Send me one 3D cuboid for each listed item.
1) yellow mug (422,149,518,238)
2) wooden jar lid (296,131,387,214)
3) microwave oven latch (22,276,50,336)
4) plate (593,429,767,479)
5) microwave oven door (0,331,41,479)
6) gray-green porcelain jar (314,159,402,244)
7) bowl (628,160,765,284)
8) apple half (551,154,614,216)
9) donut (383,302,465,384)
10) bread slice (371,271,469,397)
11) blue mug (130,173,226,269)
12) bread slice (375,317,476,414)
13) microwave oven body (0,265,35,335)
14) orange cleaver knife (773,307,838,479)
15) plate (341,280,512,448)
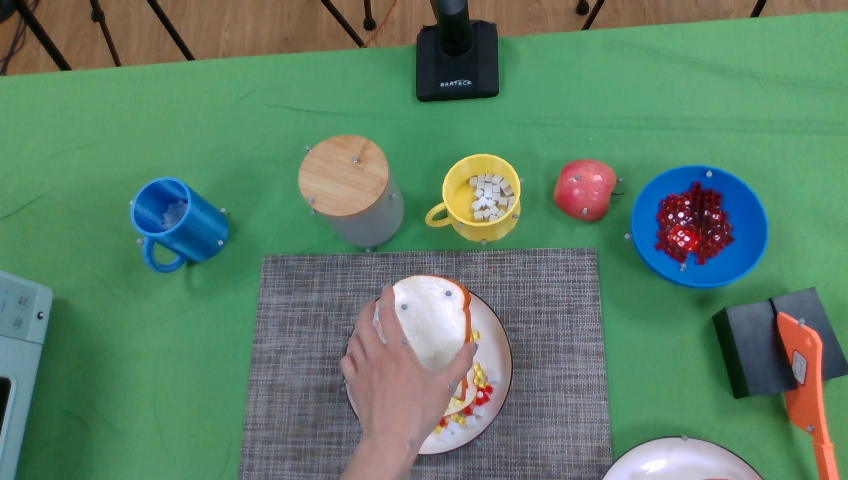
[{"bbox_3d":[0.058,-0.053,0.789,0.131,0.064,0.099,-23,70,1],"label":"yellow mug"},{"bbox_3d":[-0.097,-0.079,0.719,0.108,0.021,0.107,-2,70,5],"label":"wooden jar lid"},{"bbox_3d":[-0.534,0.090,0.820,0.030,0.030,0.078,2,73,8],"label":"microwave oven latch"},{"bbox_3d":[0.278,0.312,0.654,0.209,0.038,0.208,-3,72,8],"label":"plate"},{"bbox_3d":[-0.555,0.266,0.659,0.039,0.245,0.353,-2,72,8],"label":"microwave oven door"},{"bbox_3d":[-0.087,-0.059,0.779,0.106,0.127,0.105,-2,71,7],"label":"gray-green porcelain jar"},{"bbox_3d":[0.318,-0.012,0.732,0.151,0.077,0.150,-2,72,8],"label":"bowl"},{"bbox_3d":[0.206,-0.077,0.782,0.074,0.054,0.080,20,77,16],"label":"apple half"},{"bbox_3d":[0.000,0.123,0.721,0.099,0.048,0.098,-2,72,8],"label":"donut"},{"bbox_3d":[-0.003,0.099,0.663,0.104,0.019,0.131,5,86,17],"label":"bread slice"},{"bbox_3d":[-0.333,-0.016,0.810,0.082,0.106,0.116,19,76,14],"label":"blue mug"},{"bbox_3d":[0.009,0.144,0.742,0.107,0.018,0.133,-19,73,3],"label":"bread slice"},{"bbox_3d":[-0.698,0.231,0.696,0.325,0.262,0.439,-1,73,7],"label":"microwave oven body"},{"bbox_3d":[0.412,0.178,0.655,0.012,0.077,0.211,-11,93,-3],"label":"orange cleaver knife"},{"bbox_3d":[0.003,0.146,0.743,0.207,0.039,0.206,-2,72,7],"label":"plate"}]
